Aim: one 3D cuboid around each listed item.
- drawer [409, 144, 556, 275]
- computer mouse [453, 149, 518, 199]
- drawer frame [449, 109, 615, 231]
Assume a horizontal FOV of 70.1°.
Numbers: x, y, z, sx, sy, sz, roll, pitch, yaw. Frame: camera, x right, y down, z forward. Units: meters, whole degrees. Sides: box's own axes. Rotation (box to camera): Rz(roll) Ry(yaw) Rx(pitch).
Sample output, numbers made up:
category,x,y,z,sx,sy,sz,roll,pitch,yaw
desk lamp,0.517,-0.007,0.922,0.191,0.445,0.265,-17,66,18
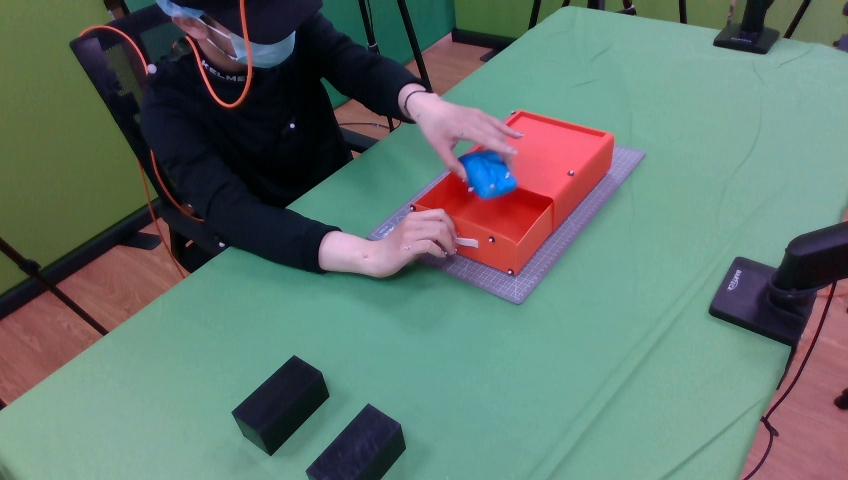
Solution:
category,x,y,z,sx,sy,sz,roll,pitch,yaw
drawer,0.117,-0.060,0.972,0.193,0.073,0.212,22,49,31
computer mouse,0.091,-0.103,0.911,0.063,0.041,0.116,-16,38,-14
drawer frame,0.186,-0.126,1.037,0.200,0.083,0.214,22,48,31
